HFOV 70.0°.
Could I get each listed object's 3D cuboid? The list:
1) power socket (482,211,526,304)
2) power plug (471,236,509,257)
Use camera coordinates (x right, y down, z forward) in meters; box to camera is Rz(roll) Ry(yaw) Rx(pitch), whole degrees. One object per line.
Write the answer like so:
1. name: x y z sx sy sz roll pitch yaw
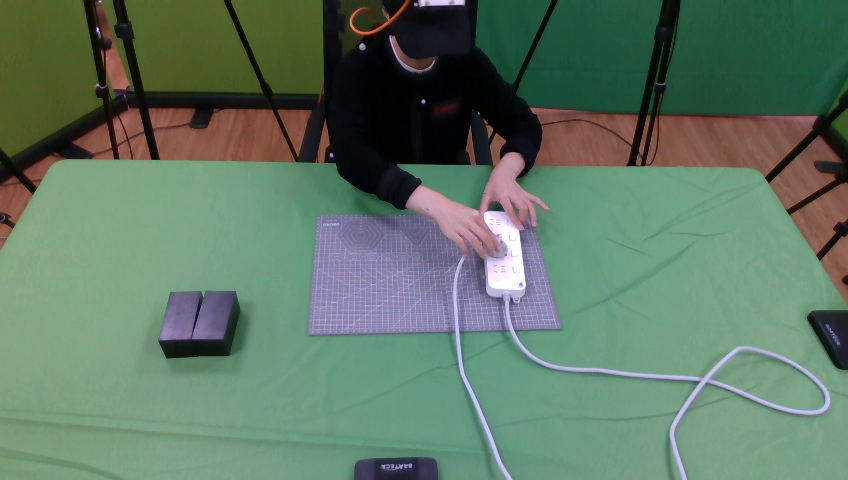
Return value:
1. power socket: 0.153 0.024 1.172 0.072 0.033 0.225 4 46 -1
2. power plug: 0.125 0.013 1.149 0.072 0.053 0.035 12 46 6
